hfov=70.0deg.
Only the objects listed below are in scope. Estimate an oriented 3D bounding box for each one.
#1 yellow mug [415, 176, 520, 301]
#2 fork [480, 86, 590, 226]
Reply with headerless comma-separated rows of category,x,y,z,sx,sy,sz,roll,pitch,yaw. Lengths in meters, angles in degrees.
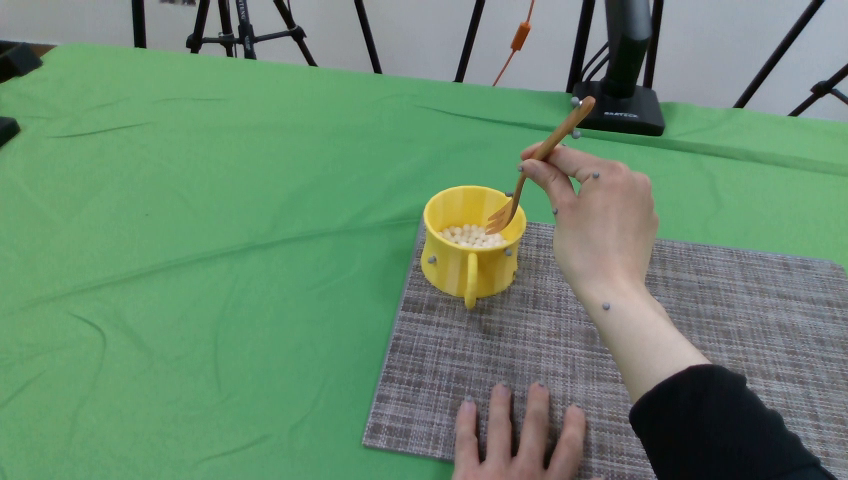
yellow mug,0.041,0.002,0.591,0.100,0.064,0.129,3,44,0
fork,0.083,-0.061,0.498,0.018,0.208,0.028,18,64,-4
